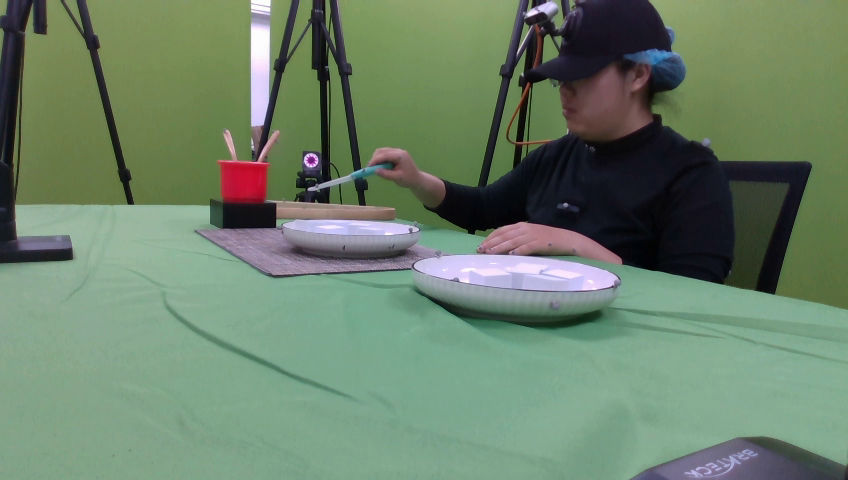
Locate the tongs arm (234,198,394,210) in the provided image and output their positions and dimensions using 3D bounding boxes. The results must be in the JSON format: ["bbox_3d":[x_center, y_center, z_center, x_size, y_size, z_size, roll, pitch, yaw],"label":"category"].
[{"bbox_3d":[-0.263,-0.076,1.460,0.386,0.026,0.050,3,8,-8],"label":"tongs arm"}]

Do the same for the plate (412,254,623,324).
[{"bbox_3d":[0.091,0.047,0.609,0.209,0.038,0.209,2,7,0],"label":"plate"}]

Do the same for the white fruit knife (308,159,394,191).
[{"bbox_3d":[-0.141,-0.128,1.204,0.208,0.016,0.027,-23,-15,-34],"label":"white fruit knife"}]

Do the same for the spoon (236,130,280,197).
[{"bbox_3d":[-0.321,-0.154,1.192,0.041,0.193,0.022,0,-37,19],"label":"spoon"}]

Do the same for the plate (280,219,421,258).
[{"bbox_3d":[-0.108,-0.002,0.902,0.208,0.039,0.207,3,7,0],"label":"plate"}]

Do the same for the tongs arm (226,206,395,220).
[{"bbox_3d":[-0.248,-0.061,1.382,0.389,0.028,0.028,0,6,-21],"label":"tongs arm"}]

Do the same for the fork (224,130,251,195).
[{"bbox_3d":[-0.372,-0.155,1.193,0.028,0.018,0.206,-17,54,-13],"label":"fork"}]
